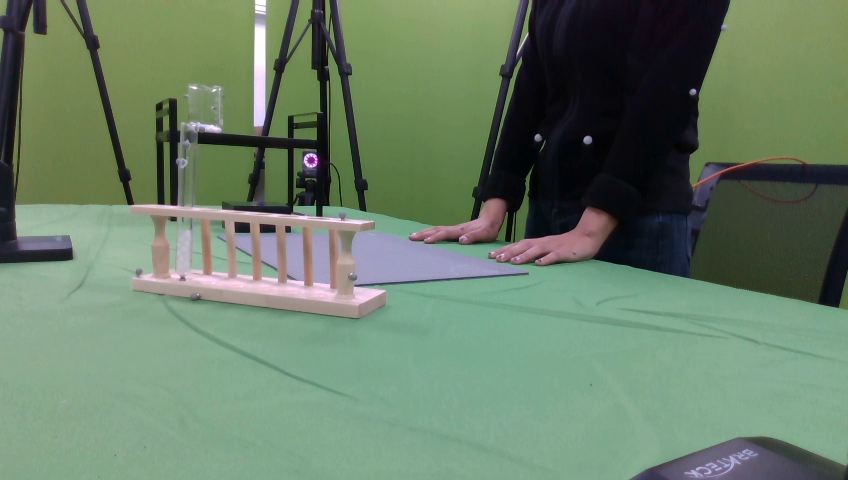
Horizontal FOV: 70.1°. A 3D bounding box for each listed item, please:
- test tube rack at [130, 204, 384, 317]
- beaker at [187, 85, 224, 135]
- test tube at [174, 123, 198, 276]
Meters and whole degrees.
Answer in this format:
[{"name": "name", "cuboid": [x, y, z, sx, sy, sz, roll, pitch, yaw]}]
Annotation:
[{"name": "test tube rack", "cuboid": [-0.163, 0.013, 0.589, 0.242, 0.085, 0.067, 4, 8, 17]}, {"name": "beaker", "cuboid": [-0.466, -0.276, 1.296, 0.074, 0.100, 0.083, -3, 10, -35]}, {"name": "test tube", "cuboid": [-0.232, -0.038, 0.588, 0.017, 0.150, 0.017, 6, 9, -1]}]
